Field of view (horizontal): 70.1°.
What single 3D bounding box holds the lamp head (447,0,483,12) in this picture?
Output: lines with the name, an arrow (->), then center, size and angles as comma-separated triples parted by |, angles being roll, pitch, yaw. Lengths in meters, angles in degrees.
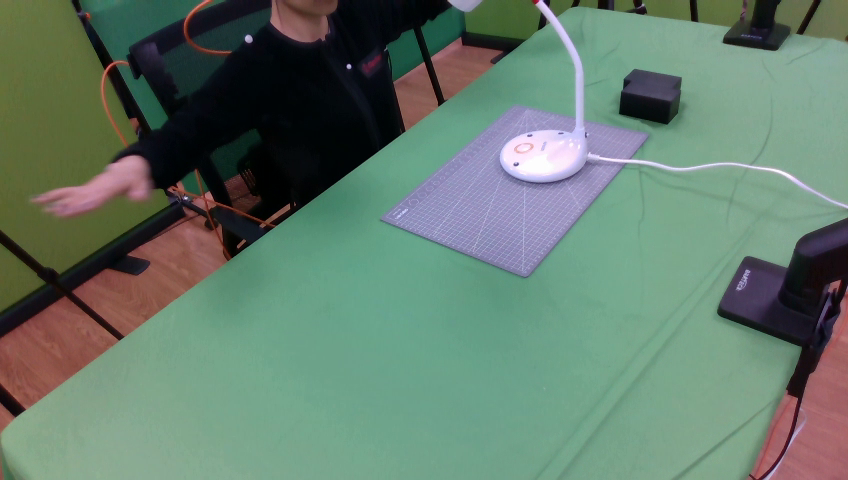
lamp head -> 0.084, -0.422, 0.915 | 0.122, 0.113, 0.112 | -21, 31, 36

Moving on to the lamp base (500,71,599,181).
lamp base -> 0.223, -0.217, 1.068 | 0.179, 0.181, 0.160 | 2, 42, 10
